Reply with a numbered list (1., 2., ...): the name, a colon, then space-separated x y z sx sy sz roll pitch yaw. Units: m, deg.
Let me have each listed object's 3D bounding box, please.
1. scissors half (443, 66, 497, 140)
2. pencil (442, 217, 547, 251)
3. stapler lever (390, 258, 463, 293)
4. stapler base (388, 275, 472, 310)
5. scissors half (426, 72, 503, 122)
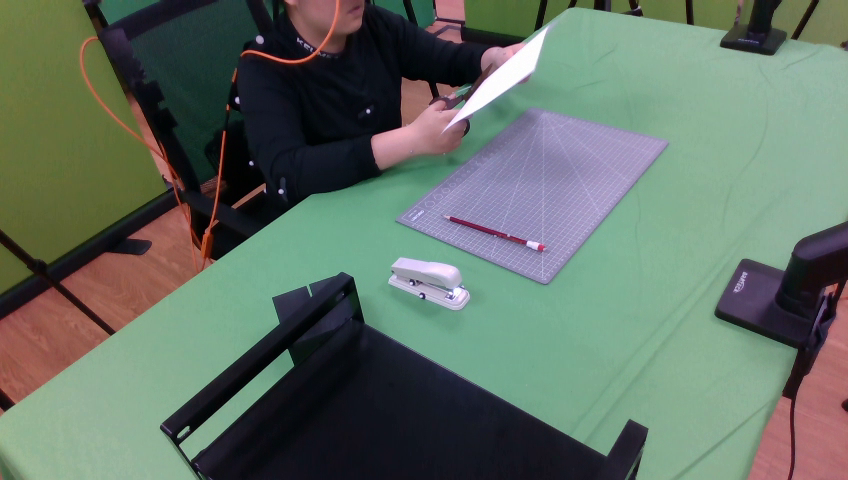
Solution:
1. scissors half: 0.086 -0.248 1.109 0.040 0.175 0.013 32 40 -3
2. pencil: 0.110 -0.012 0.979 0.192 0.012 0.012 18 46 30
3. stapler lever: 0.003 0.046 0.881 0.117 0.040 0.027 17 44 29
4. stapler base: 0.007 0.066 0.897 0.129 0.024 0.041 17 44 29
5. scissors half: 0.071 -0.265 1.106 0.174 0.040 0.013 -21 20 33
